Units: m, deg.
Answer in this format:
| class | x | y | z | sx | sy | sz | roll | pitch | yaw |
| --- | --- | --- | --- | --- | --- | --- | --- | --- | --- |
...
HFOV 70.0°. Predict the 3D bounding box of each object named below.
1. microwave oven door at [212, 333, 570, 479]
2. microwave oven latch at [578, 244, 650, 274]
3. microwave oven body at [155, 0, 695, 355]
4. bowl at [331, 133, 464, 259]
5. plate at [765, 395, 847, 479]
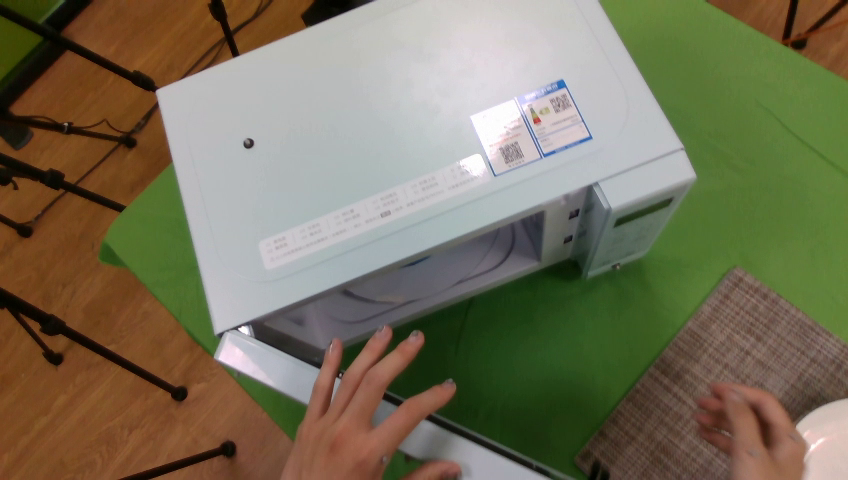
| class | x | y | z | sx | sy | sz | roll | pitch | yaw |
| --- | --- | --- | --- | --- | --- | --- | --- | --- | --- |
| microwave oven door | -0.003 | 0.186 | 0.588 | 0.354 | 0.245 | 0.039 | 21 | 76 | 15 |
| microwave oven latch | 0.224 | 0.012 | 0.716 | 0.079 | 0.030 | 0.030 | -21 | 71 | 3 |
| microwave oven body | -0.006 | -0.080 | 0.678 | 0.442 | 0.262 | 0.323 | -22 | 71 | 2 |
| bowl | -0.024 | -0.039 | 0.705 | 0.151 | 0.077 | 0.150 | -3 | 68 | 7 |
| plate | 0.455 | 0.263 | 0.615 | 0.207 | 0.039 | 0.206 | -2 | 72 | 8 |
